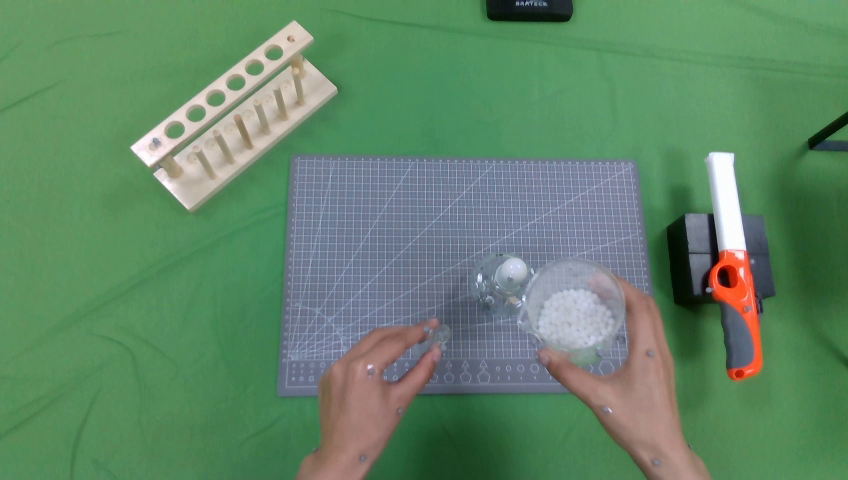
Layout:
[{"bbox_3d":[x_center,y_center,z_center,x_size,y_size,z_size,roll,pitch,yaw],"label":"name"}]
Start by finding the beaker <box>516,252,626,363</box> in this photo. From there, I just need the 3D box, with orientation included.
[{"bbox_3d":[0.121,0.062,0.501,0.084,0.101,0.073,-22,67,7],"label":"beaker"}]

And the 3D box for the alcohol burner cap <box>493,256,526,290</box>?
[{"bbox_3d":[0.094,0.033,0.647,0.034,0.048,0.033,1,76,-2],"label":"alcohol burner cap"}]

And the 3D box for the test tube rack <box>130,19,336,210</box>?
[{"bbox_3d":[-0.220,-0.151,0.732,0.066,0.085,0.242,43,75,10],"label":"test tube rack"}]

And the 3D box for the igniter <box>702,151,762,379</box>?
[{"bbox_3d":[0.357,0.023,0.707,0.057,0.025,0.274,3,71,-1],"label":"igniter"}]

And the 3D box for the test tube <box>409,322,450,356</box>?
[{"bbox_3d":[0.003,0.094,0.563,0.017,0.150,0.017,2,74,-8],"label":"test tube"}]

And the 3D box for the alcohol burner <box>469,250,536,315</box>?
[{"bbox_3d":[0.091,0.043,0.682,0.078,0.119,0.077,2,71,-5],"label":"alcohol burner"}]
